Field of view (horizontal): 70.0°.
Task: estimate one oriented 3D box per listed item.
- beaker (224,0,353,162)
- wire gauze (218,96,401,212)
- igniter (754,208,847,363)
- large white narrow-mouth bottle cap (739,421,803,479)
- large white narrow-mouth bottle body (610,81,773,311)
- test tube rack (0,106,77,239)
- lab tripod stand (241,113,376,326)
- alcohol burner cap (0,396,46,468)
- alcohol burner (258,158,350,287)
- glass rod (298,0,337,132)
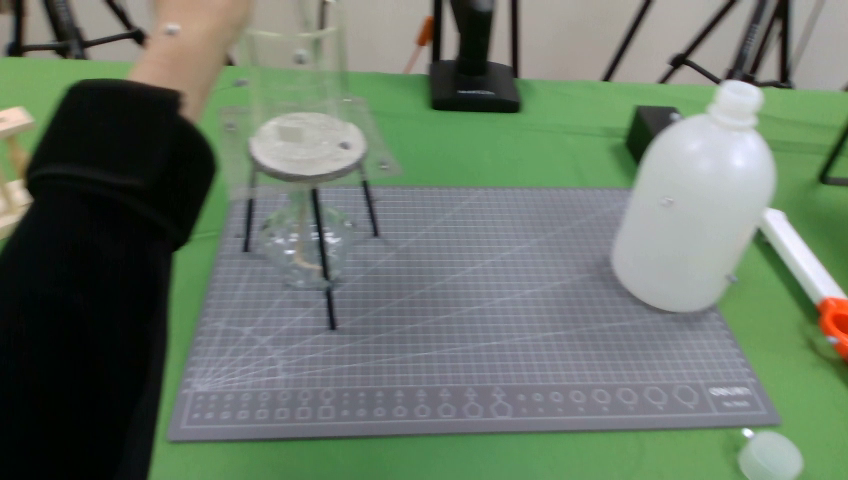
[{"bbox_3d":[-0.092,-0.113,0.430,0.084,0.101,0.073,-4,44,-11],"label":"beaker"},{"bbox_3d":[-0.090,-0.074,0.460,0.122,0.011,0.123,-10,47,-14],"label":"wire gauze"},{"bbox_3d":[0.364,0.063,0.537,0.057,0.025,0.273,9,40,-12],"label":"igniter"},{"bbox_3d":[0.246,0.150,0.430,0.038,0.024,0.037,3,41,-2],"label":"large white narrow-mouth bottle cap"},{"bbox_3d":[0.227,-0.037,0.505,0.102,0.196,0.101,2,41,-2],"label":"large white narrow-mouth bottle body"},{"bbox_3d":[-0.442,-0.027,0.509,0.242,0.086,0.066,-31,53,-34],"label":"test tube rack"},{"bbox_3d":[-0.091,-0.024,0.502,0.148,0.132,0.147,4,42,-4],"label":"lab tripod stand"},{"bbox_3d":[-0.271,0.122,0.392,0.034,0.048,0.033,4,40,-3],"label":"alcohol burner cap"},{"bbox_3d":[-0.101,-0.018,0.510,0.078,0.120,0.077,5,40,-3],"label":"alcohol burner"},{"bbox_3d":[-0.082,-0.163,0.402,0.008,0.201,0.008,-6,35,4],"label":"glass rod"}]
